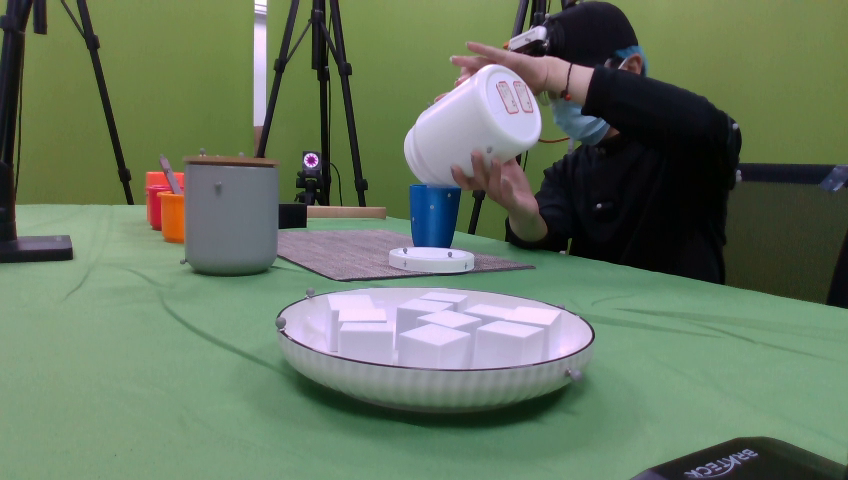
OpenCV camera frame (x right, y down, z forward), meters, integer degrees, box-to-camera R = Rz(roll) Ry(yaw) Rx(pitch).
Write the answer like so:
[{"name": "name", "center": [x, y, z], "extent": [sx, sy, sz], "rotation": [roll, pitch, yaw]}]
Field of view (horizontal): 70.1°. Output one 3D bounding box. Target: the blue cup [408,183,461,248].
[{"name": "blue cup", "center": [0.015, -0.038, 0.969], "extent": [0.093, 0.100, 0.092], "rotation": [3, 9, 0]}]

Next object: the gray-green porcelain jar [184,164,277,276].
[{"name": "gray-green porcelain jar", "center": [-0.230, -0.025, 0.722], "extent": [0.106, 0.126, 0.106], "rotation": [3, 7, 0]}]

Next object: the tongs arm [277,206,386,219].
[{"name": "tongs arm", "center": [-0.251, -0.062, 1.360], "extent": [0.387, 0.026, 0.050], "rotation": [-1, 4, -31]}]

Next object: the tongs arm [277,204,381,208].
[{"name": "tongs arm", "center": [-0.288, -0.071, 1.435], "extent": [0.389, 0.027, 0.028], "rotation": [1, 0, -17]}]

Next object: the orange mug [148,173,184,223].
[{"name": "orange mug", "center": [-0.490, -0.087, 1.222], "extent": [0.127, 0.101, 0.083], "rotation": [-9, 13, -38]}]

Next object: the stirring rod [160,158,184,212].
[{"name": "stirring rod", "center": [-0.390, -0.070, 0.972], "extent": [0.014, 0.006, 0.175], "rotation": [-2, 50, -48]}]

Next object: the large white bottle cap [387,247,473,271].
[{"name": "large white bottle cap", "center": [0.009, 0.025, 0.804], "extent": [0.115, 0.018, 0.115], "rotation": [2, 7, 0]}]

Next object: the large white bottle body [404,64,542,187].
[{"name": "large white bottle body", "center": [0.066, -0.161, 0.903], "extent": [0.131, 0.130, 0.184], "rotation": [-5, -15, -43]}]

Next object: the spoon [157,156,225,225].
[{"name": "spoon", "center": [-0.425, -0.094, 1.117], "extent": [0.041, 0.022, 0.194], "rotation": [5, 51, 28]}]

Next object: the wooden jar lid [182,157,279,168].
[{"name": "wooden jar lid", "center": [-0.227, -0.086, 0.714], "extent": [0.108, 0.020, 0.108], "rotation": [0, 6, 0]}]

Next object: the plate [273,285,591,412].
[{"name": "plate", "center": [0.005, 0.069, 0.408], "extent": [0.208, 0.039, 0.207], "rotation": [2, 7, 0]}]
